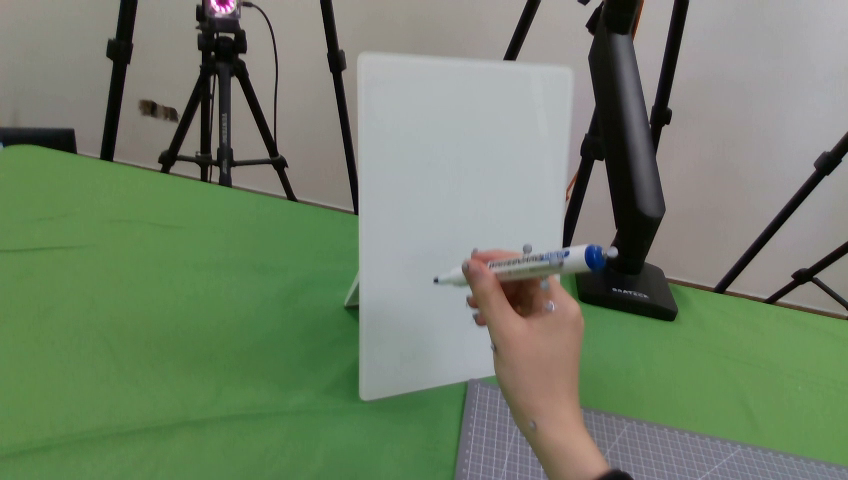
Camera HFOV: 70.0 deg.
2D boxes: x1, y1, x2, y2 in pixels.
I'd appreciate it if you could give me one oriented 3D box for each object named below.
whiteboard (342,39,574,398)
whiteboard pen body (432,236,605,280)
[{"bbox_3d":[0.013,-0.031,0.611,0.218,0.306,0.142,-5,15,-25],"label":"whiteboard"},{"bbox_3d":[0.054,0.015,0.401,0.140,0.017,0.017,-12,7,46],"label":"whiteboard pen body"}]
